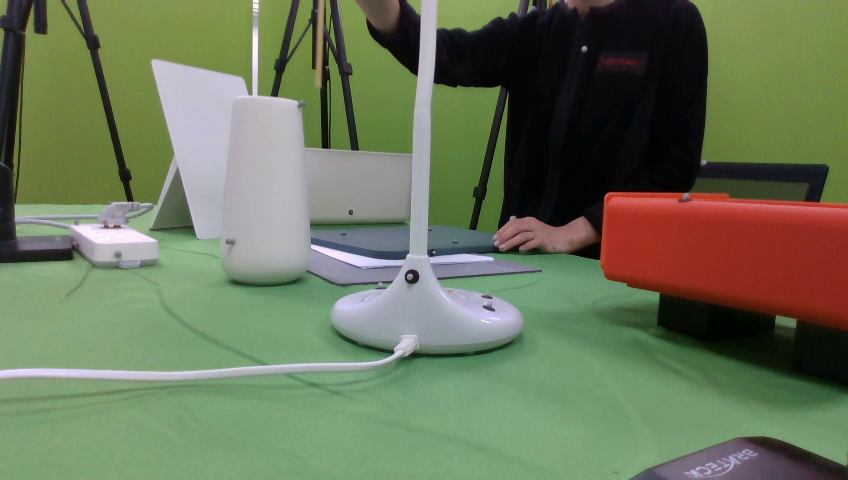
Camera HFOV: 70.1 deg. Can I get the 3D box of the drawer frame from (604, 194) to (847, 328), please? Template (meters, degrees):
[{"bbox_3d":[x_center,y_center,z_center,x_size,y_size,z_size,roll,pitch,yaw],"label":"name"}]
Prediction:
[{"bbox_3d":[0.298,0.007,0.497,0.203,0.082,0.212,-1,7,-34],"label":"drawer frame"}]

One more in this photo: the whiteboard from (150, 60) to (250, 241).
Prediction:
[{"bbox_3d":[-0.408,-0.139,1.093,0.143,0.305,0.218,-15,-1,26],"label":"whiteboard"}]

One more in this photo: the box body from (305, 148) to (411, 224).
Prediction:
[{"bbox_3d":[-0.230,-0.126,1.371,0.366,0.160,0.253,-2,8,-33],"label":"box body"}]

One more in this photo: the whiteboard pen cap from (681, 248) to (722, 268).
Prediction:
[{"bbox_3d":[0.250,0.017,0.544,0.033,0.018,0.018,2,7,25],"label":"whiteboard pen cap"}]

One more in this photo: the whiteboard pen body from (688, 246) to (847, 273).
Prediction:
[{"bbox_3d":[0.303,0.016,0.519,0.140,0.017,0.017,4,8,25],"label":"whiteboard pen body"}]

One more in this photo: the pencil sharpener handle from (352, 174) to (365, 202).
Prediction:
[{"bbox_3d":[-0.156,-0.124,1.448,0.031,0.068,0.036,1,17,-10],"label":"pencil sharpener handle"}]

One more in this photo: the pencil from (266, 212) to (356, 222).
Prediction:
[{"bbox_3d":[-0.244,-0.049,1.319,0.195,0.012,0.012,4,7,-12],"label":"pencil"}]

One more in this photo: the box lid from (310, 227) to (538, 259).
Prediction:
[{"bbox_3d":[-0.010,0.001,1.036,0.374,0.015,0.262,-3,9,-44],"label":"box lid"}]

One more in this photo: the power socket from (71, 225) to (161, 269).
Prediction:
[{"bbox_3d":[-0.408,0.004,0.793,0.072,0.032,0.225,-2,8,-38],"label":"power socket"}]

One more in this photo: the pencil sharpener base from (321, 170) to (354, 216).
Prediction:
[{"bbox_3d":[-0.206,-0.112,1.437,0.077,0.107,0.061,1,6,-10],"label":"pencil sharpener base"}]

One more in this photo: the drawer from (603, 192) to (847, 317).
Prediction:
[{"bbox_3d":[0.293,0.002,0.500,0.195,0.073,0.210,-1,8,-34],"label":"drawer"}]

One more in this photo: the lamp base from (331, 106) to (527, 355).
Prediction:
[{"bbox_3d":[0.006,-0.012,0.478,0.161,0.180,0.179,2,10,2],"label":"lamp base"}]

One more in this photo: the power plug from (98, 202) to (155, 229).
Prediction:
[{"bbox_3d":[-0.416,-0.026,0.848,0.073,0.052,0.035,0,8,-28],"label":"power plug"}]

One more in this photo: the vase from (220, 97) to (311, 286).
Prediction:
[{"bbox_3d":[-0.172,-0.052,0.662,0.098,0.200,0.098,3,8,0],"label":"vase"}]

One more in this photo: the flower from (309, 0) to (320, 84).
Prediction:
[{"bbox_3d":[-0.121,-0.366,0.722,0.044,0.361,0.038,5,1,44],"label":"flower"}]

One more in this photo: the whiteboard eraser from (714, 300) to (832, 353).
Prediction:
[{"bbox_3d":[0.256,0.042,0.472,0.112,0.042,0.056,43,19,30],"label":"whiteboard eraser"}]
